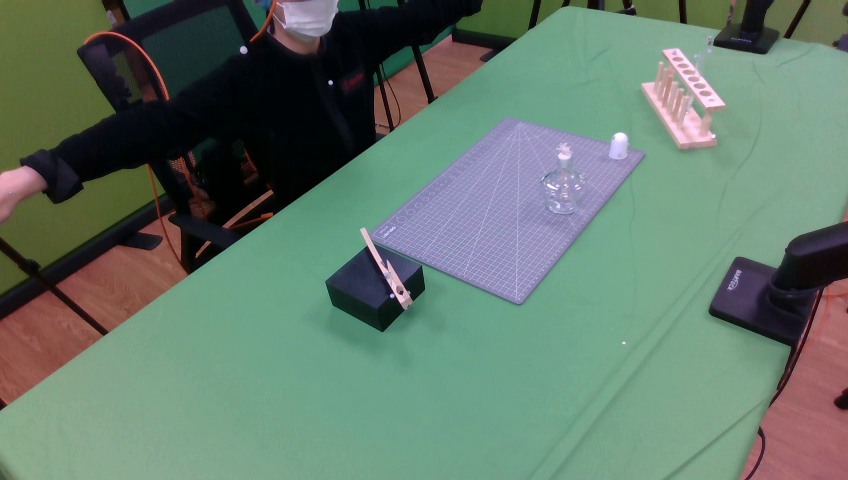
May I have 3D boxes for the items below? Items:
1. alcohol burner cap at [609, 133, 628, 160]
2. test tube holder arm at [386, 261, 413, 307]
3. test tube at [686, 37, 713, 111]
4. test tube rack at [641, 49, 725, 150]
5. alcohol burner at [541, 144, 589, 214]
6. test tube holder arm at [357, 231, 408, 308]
[{"bbox_3d":[0.356,-0.172,1.101,0.034,0.048,0.033,-5,41,5],"label":"alcohol burner cap"},{"bbox_3d":[-0.037,0.060,0.837,0.010,0.015,0.087,-22,42,-14],"label":"test tube holder arm"},{"bbox_3d":[0.509,-0.306,1.129,0.017,0.151,0.017,-1,45,1],"label":"test tube"},{"bbox_3d":[0.495,-0.279,1.175,0.067,0.085,0.241,-5,41,3],"label":"test tube rack"},{"bbox_3d":[0.229,-0.102,0.983,0.078,0.119,0.077,-6,41,5],"label":"alcohol burner"},{"bbox_3d":[-0.062,0.038,0.868,0.013,0.015,0.177,-24,42,-15],"label":"test tube holder arm"}]
